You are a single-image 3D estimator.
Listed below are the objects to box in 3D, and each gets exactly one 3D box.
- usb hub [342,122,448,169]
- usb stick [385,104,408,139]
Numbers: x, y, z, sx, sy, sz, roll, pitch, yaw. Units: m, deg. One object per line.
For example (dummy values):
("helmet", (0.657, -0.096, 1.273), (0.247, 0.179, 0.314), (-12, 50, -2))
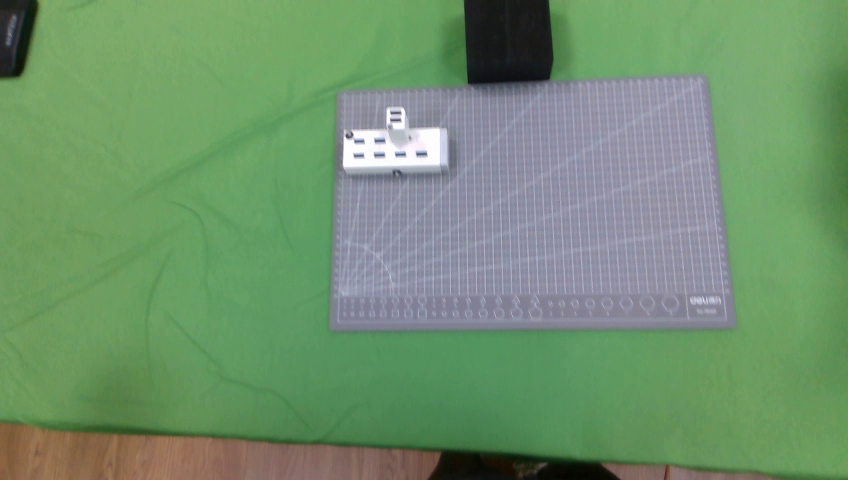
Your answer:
("usb hub", (-0.035, -0.113, 0.725), (0.125, 0.025, 0.049), (-1, 77, 4))
("usb stick", (-0.030, -0.134, 0.699), (0.021, 0.059, 0.027), (0, 76, 5))
